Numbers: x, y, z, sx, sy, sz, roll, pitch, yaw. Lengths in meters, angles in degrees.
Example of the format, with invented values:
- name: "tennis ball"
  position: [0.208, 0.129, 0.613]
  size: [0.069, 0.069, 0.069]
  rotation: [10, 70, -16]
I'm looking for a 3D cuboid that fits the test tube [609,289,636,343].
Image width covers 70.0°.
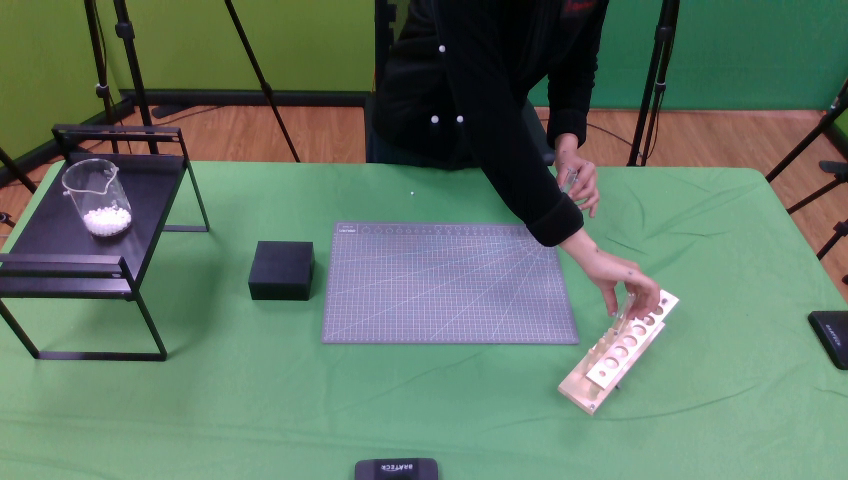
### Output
- name: "test tube"
  position: [0.321, 0.126, 0.989]
  size: [0.017, 0.151, 0.017]
  rotation: [-1, 52, 1]

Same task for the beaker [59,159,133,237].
- name: "beaker"
  position: [-0.488, -0.060, 0.914]
  size: [0.074, 0.101, 0.083]
  rotation: [-35, 58, -30]

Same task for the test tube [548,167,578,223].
- name: "test tube"
  position: [0.250, -0.079, 1.100]
  size: [0.017, 0.151, 0.017]
  rotation: [3, 55, -4]

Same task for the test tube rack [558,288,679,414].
- name: "test tube rack"
  position: [0.327, 0.171, 1.009]
  size: [0.066, 0.085, 0.242]
  rotation: [35, 54, 27]
